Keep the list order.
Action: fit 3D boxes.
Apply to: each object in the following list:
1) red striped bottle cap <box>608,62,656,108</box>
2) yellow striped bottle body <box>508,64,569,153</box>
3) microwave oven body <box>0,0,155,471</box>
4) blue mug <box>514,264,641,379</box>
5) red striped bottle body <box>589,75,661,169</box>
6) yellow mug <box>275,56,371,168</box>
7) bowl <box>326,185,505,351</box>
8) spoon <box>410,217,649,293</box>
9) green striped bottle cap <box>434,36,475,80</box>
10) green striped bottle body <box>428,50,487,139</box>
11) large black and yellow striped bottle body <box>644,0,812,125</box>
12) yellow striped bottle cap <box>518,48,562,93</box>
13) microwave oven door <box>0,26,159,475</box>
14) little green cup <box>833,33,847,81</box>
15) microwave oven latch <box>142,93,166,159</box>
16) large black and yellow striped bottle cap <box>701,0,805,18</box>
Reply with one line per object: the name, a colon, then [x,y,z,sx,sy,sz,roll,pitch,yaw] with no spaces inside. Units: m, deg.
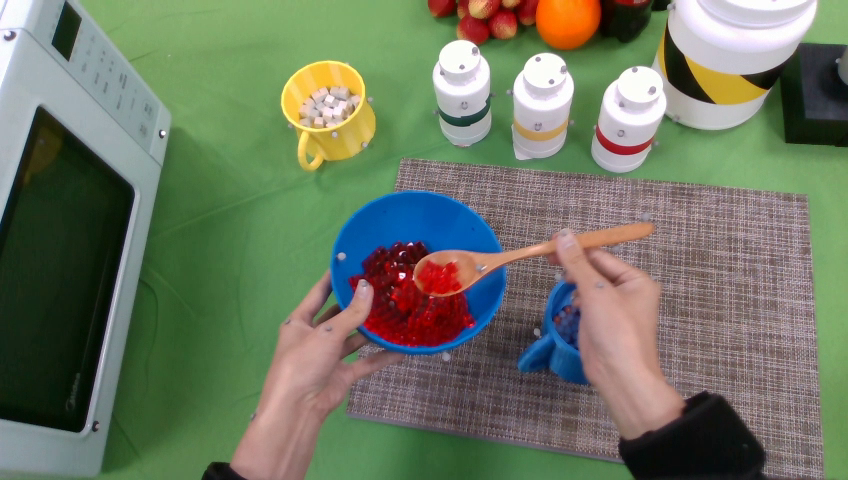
red striped bottle cap: [0.206,-0.153,0.598,0.044,0.018,0.044,-1,66,2]
yellow striped bottle body: [0.124,-0.153,0.664,0.063,0.121,0.062,-3,66,7]
microwave oven body: [-0.496,-0.007,0.598,0.326,0.262,0.438,-2,68,6]
blue mug: [0.136,0.087,0.567,0.116,0.107,0.081,-28,66,-5]
red striped bottle body: [0.213,-0.132,0.645,0.063,0.121,0.062,-3,65,8]
yellow mug: [-0.124,-0.146,0.721,0.099,0.064,0.130,16,71,13]
bowl: [-0.011,0.035,0.540,0.152,0.077,0.150,3,63,-6]
spoon: [0.080,0.008,0.486,0.193,0.022,0.041,-14,60,19]
green striped bottle cap: [0.032,-0.191,0.635,0.044,0.020,0.044,-2,66,6]
green striped bottle body: [0.039,-0.171,0.683,0.063,0.120,0.062,-2,67,6]
large black and yellow striped bottle body: [0.314,-0.223,0.636,0.130,0.185,0.130,-3,67,6]
yellow striped bottle cap: [0.118,-0.173,0.617,0.044,0.019,0.044,-2,69,6]
microwave oven door: [-0.352,0.024,0.562,0.039,0.246,0.353,-2,67,7]
little green cup: [0.462,-0.193,0.630,0.061,0.039,0.061,-2,66,4]
microwave oven latch: [-0.337,-0.139,0.739,0.030,0.030,0.078,-1,68,6]
large black and yellow striped bottle cap: [0.303,-0.255,0.559,0.115,0.019,0.114,-3,66,6]
